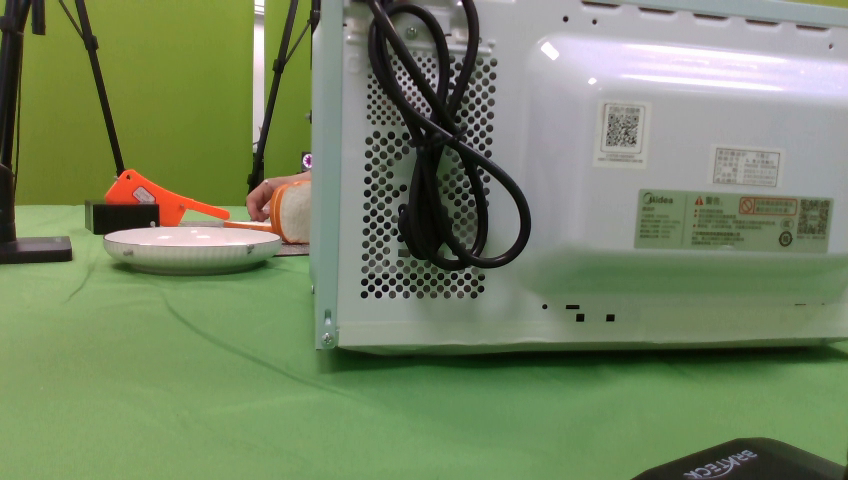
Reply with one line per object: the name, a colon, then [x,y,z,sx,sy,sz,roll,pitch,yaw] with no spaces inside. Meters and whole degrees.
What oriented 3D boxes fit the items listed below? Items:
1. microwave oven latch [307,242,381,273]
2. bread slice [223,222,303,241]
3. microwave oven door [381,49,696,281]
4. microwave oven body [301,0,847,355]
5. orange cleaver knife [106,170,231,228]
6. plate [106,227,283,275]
microwave oven latch: [-0.086,0.019,0.656,0.079,0.029,0.030,2,7,-10]
bread slice: [-0.274,-0.013,1.041,0.135,0.018,0.106,8,-4,-42]
microwave oven door: [0.135,-0.077,0.685,0.357,0.243,0.039,1,8,-12]
microwave oven body: [0.120,-0.053,0.535,0.443,0.260,0.325,2,7,-11]
orange cleaver knife: [-0.458,-0.060,1.097,0.212,0.077,0.012,23,-4,-38]
plate: [-0.288,0.013,0.772,0.208,0.039,0.207,2,7,0]
